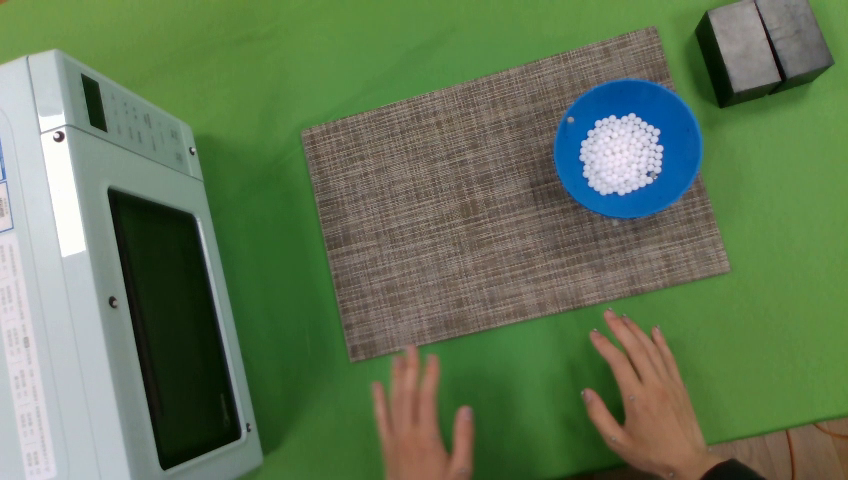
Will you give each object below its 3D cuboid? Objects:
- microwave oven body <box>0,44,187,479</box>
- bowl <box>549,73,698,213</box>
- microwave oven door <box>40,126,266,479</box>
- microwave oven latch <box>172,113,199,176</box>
[{"bbox_3d":[-0.418,0.084,0.658,0.326,0.261,0.440,-17,83,6],"label":"microwave oven body"},{"bbox_3d":[0.213,-0.099,0.671,0.151,0.077,0.151,-1,85,9],"label":"bowl"},{"bbox_3d":[-0.268,0.082,0.630,0.039,0.245,0.354,-17,82,7],"label":"microwave oven door"},{"bbox_3d":[-0.308,-0.116,0.759,0.030,0.029,0.079,-16,83,6],"label":"microwave oven latch"}]
